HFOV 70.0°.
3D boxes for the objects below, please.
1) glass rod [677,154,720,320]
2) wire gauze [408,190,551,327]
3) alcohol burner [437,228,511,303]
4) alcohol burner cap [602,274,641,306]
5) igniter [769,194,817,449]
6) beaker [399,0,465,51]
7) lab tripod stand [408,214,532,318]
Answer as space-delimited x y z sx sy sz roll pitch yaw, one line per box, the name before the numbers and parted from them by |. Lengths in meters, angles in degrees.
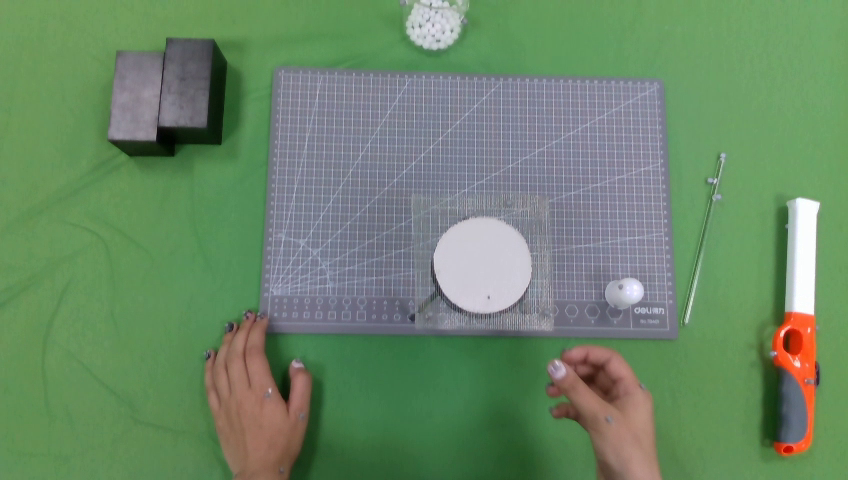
glass rod | 0.308 -0.006 0.679 0.008 0.008 0.199 18 80 1
wire gauze | 0.049 0.015 0.529 0.125 0.011 0.121 1 79 -3
alcohol burner | 0.052 0.023 0.606 0.078 0.119 0.077 1 77 -3
alcohol burner cap | 0.212 0.052 0.644 0.034 0.048 0.033 0 78 -1
igniter | 0.401 0.085 0.657 0.057 0.025 0.275 11 80 -12
beaker | 0.010 -0.259 0.664 0.074 0.100 0.084 -43 85 -8
lab tripod stand | 0.046 0.030 0.594 0.148 0.132 0.147 0 78 -1
